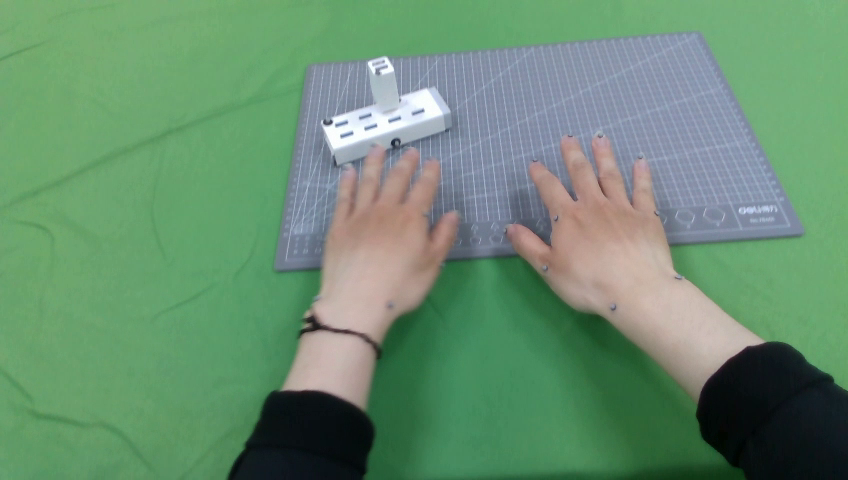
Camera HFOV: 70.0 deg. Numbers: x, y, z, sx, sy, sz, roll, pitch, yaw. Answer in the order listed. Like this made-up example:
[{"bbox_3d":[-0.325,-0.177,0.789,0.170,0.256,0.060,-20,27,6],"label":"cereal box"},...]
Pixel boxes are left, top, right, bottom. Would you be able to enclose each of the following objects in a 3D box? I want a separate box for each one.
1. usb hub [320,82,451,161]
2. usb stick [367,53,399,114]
[{"bbox_3d":[-0.039,-0.122,0.613,0.125,0.025,0.049,-19,53,-10],"label":"usb hub"},{"bbox_3d":[-0.040,-0.152,0.599,0.021,0.060,0.027,-20,51,-10],"label":"usb stick"}]
